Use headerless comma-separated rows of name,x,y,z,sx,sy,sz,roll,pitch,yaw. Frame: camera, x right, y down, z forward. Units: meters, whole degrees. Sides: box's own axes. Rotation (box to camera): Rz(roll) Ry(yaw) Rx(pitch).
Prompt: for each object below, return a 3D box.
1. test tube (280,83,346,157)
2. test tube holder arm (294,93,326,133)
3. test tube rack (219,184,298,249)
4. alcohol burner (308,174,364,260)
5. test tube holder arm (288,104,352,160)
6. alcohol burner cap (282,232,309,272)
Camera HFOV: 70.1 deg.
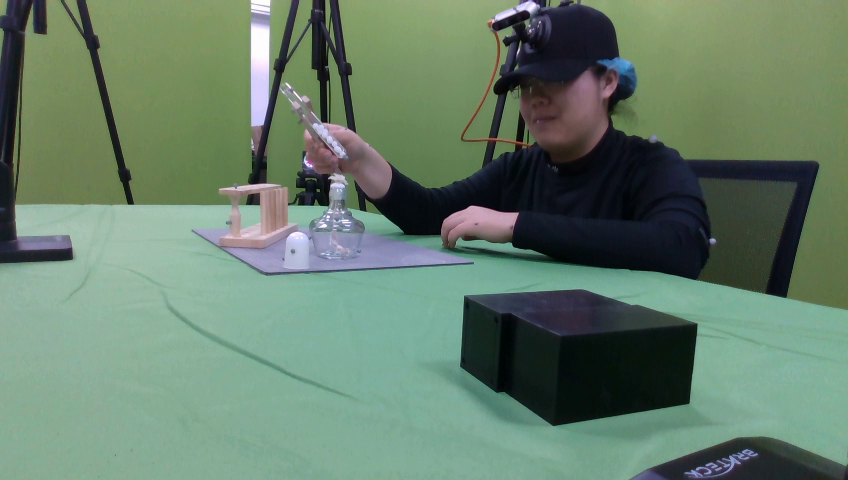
test tube,-0.157,-0.169,0.850,0.150,0.017,0.017,49,27,19
test tube holder arm,-0.164,-0.180,0.878,0.015,0.010,0.088,19,-21,23
test tube rack,-0.266,-0.046,1.001,0.067,0.085,0.242,3,7,0
alcohol burner,-0.121,-0.033,0.841,0.078,0.119,0.078,3,5,0
test tube holder arm,-0.154,-0.160,0.917,0.015,0.013,0.179,20,-10,23
alcohol burner cap,-0.157,0.014,0.740,0.034,0.048,0.034,2,6,0
